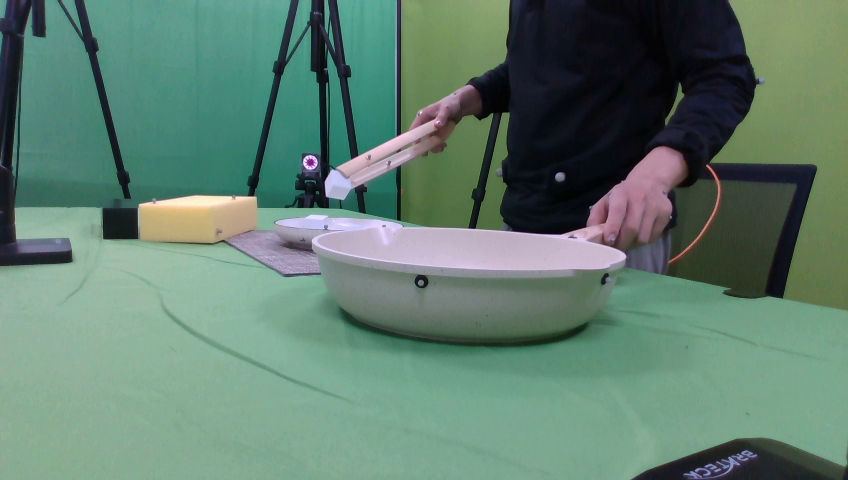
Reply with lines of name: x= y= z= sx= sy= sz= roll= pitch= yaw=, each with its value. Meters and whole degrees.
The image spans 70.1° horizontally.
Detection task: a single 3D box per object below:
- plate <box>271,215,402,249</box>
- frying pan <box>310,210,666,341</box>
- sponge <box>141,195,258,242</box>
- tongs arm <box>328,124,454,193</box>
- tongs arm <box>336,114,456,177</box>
plate: x=-0.141 y=-0.012 z=0.978 sx=0.208 sy=0.039 sz=0.207 roll=3 pitch=7 yaw=0
frying pan: x=0.120 y=0.011 z=0.643 sx=0.490 sy=0.102 sz=0.305 roll=-13 pitch=16 yaw=-36
sponge: x=-0.380 y=-0.040 z=1.047 sx=0.118 sy=0.061 sz=0.207 roll=1 pitch=8 yaw=3
tongs arm: x=-0.046 y=-0.163 z=1.116 sx=0.026 sy=0.050 sz=0.386 roll=42 pitch=34 yaw=8
tongs arm: x=-0.035 y=-0.179 z=1.101 sx=0.027 sy=0.028 sz=0.389 roll=39 pitch=38 yaw=11
